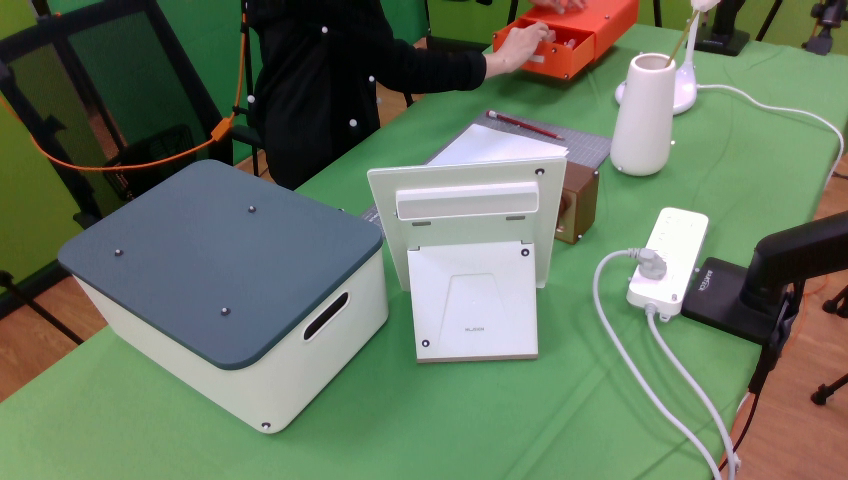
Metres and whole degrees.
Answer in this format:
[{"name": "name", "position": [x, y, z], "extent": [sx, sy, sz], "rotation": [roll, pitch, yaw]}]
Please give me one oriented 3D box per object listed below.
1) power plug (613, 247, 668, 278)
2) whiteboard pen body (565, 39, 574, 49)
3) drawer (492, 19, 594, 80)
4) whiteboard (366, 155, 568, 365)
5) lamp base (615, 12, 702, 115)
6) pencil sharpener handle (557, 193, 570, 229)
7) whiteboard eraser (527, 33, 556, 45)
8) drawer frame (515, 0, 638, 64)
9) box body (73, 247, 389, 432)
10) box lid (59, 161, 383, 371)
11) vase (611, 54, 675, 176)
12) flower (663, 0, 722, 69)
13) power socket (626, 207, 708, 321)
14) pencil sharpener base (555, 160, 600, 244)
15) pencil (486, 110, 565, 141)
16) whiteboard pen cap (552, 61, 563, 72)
[{"name": "power plug", "position": [0.306, 0.031, 0.851], "extent": [0.072, 0.053, 0.035], "rotation": [24, 49, 34]}, {"name": "whiteboard pen body", "position": [0.310, -0.408, 1.333], "extent": [0.017, 0.017, 0.141], "rotation": [11, 45, 20]}, {"name": "drawer", "position": [0.289, -0.446, 1.347], "extent": [0.193, 0.073, 0.212], "rotation": [24, 48, 31]}, {"name": "whiteboard", "position": [0.059, 0.049, 0.738], "extent": [0.217, 0.307, 0.143], "rotation": [-3, 60, 5]}, {"name": "lamp base", "position": [0.484, -0.364, 1.211], "extent": [0.180, 0.181, 0.159], "rotation": [-15, 41, -14]}, {"name": "pencil sharpener handle", "position": [0.195, -0.038, 0.908], "extent": [0.035, 0.068, 0.031], "rotation": [24, 50, 30]}, {"name": "whiteboard eraser", "position": [0.247, -0.431, 1.360], "extent": [0.055, 0.042, 0.113], "rotation": [25, 44, 33]}, {"name": "drawer frame", "position": [0.354, -0.506, 1.405], "extent": [0.200, 0.083, 0.214], "rotation": [24, 53, 33]}, {"name": "box body", "position": [-0.255, 0.065, 0.827], "extent": [0.361, 0.161, 0.255], "rotation": [21, 48, 29]}, {"name": "box lid", "position": [-0.262, 0.010, 0.777], "extent": [0.369, 0.015, 0.264], "rotation": [21, 48, 29]}, {"name": "vase", "position": [0.377, -0.209, 1.031], "extent": [0.098, 0.201, 0.097], "rotation": [-4, 40, 3]}, {"name": "flower", "position": [0.379, -0.261, 0.965], "extent": [0.044, 0.362, 0.038], "rotation": [20, 53, 5]}, {"name": "power socket", "position": [0.360, 0.025, 0.886], "extent": [0.072, 0.033, 0.227], "rotation": [16, 46, 26]}, {"name": "pencil sharpener base", "position": [0.228, -0.057, 0.945], "extent": [0.061, 0.107, 0.077], "rotation": [24, 50, 31]}, {"name": "pencil", "position": [0.204, -0.232, 1.226], "extent": [0.192, 0.012, 0.012], "rotation": [29, 52, 32]}, {"name": "whiteboard pen cap", "position": [0.285, -0.372, 1.292], "extent": [0.018, 0.018, 0.033], "rotation": [16, 38, 24]}]
